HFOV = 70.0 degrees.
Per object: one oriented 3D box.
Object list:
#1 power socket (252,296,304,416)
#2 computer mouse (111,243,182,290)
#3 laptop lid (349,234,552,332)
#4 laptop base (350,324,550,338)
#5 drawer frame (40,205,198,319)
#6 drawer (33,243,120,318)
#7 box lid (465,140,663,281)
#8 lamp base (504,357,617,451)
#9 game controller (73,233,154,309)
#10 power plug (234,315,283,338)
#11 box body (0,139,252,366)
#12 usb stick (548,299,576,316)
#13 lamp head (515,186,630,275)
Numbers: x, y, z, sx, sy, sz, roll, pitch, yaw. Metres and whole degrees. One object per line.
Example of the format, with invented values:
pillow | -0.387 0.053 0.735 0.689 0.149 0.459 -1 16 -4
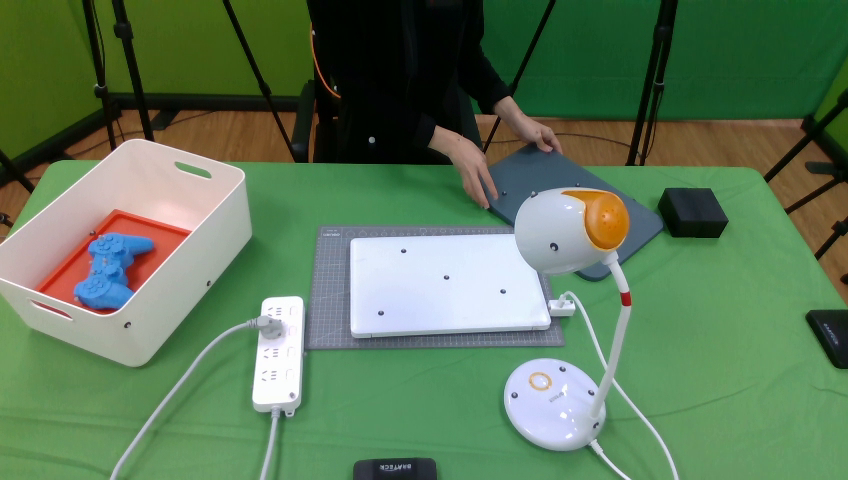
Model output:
power socket | -0.238 0.182 0.997 0.072 0.033 0.225 -3 47 -5
computer mouse | -0.493 0.044 1.077 0.117 0.041 0.062 24 42 13
laptop lid | 0.040 0.071 1.117 0.357 0.013 0.240 0 44 -5
laptop base | 0.039 0.081 1.124 0.355 0.023 0.234 -2 43 -6
drawer frame | -0.504 0.056 1.051 0.201 0.083 0.212 14 51 11
drawer | -0.508 0.053 1.044 0.194 0.073 0.211 15 42 10
box lid | 0.298 -0.076 1.297 0.263 0.015 0.369 -33 58 -30
lamp base | 0.220 0.211 0.903 0.160 0.181 0.178 -33 59 -30
game controller | -0.507 0.047 0.991 0.097 0.052 0.154 -6 46 -4
power plug | -0.269 0.143 1.000 0.072 0.053 0.035 5 47 2
box body | -0.496 0.013 1.048 0.254 0.161 0.362 17 47 12
usb stick | 0.239 0.121 1.084 0.059 0.027 0.021 -1 51 -1
lamp head | 0.188 -0.013 0.728 0.112 0.112 0.122 -25 9 -25
